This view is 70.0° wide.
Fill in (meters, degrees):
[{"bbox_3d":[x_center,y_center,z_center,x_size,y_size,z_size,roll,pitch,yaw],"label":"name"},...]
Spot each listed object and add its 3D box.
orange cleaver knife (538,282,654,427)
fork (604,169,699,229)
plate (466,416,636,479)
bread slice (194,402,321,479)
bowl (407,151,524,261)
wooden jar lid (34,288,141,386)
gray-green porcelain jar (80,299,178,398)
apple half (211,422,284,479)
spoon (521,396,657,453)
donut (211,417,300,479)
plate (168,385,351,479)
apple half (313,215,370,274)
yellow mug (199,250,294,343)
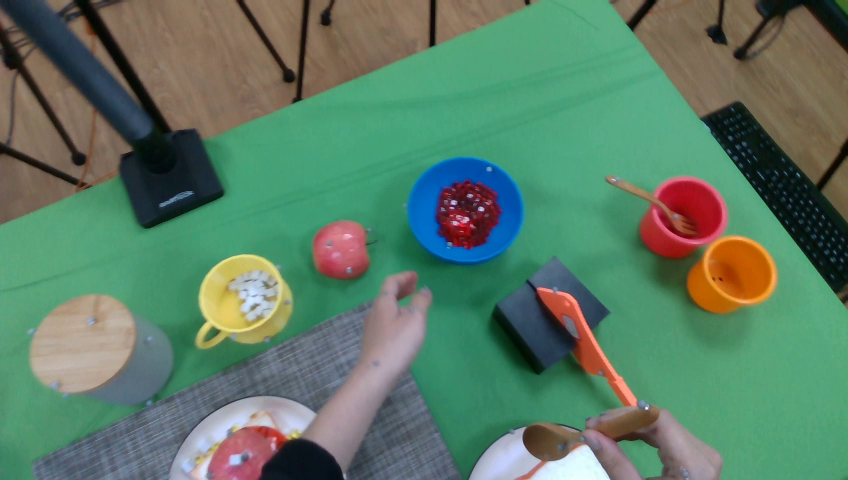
[{"bbox_3d":[0.208,0.138,0.743,0.012,0.077,0.211,-36,95,-21],"label":"orange cleaver knife"},{"bbox_3d":[0.298,-0.052,0.782,0.209,0.018,0.028,22,62,-37],"label":"fork"},{"bbox_3d":[0.146,0.311,0.700,0.209,0.038,0.207,0,69,0],"label":"plate"},{"bbox_3d":[-0.183,0.272,0.706,0.107,0.018,0.133,-43,75,-13],"label":"bread slice"},{"bbox_3d":[0.053,-0.034,0.809,0.151,0.077,0.150,0,70,-1],"label":"bowl"},{"bbox_3d":[-0.360,0.105,0.655,0.108,0.021,0.107,1,66,-1],"label":"wooden jar lid"},{"bbox_3d":[-0.359,0.128,0.715,0.106,0.127,0.105,0,68,0],"label":"gray-green porcelain jar"},{"bbox_3d":[-0.192,0.237,0.650,0.081,0.033,0.081,-2,70,6],"label":"apple half"},{"bbox_3d":[0.126,0.148,0.481,0.041,0.194,0.021,45,65,6],"label":"spoon"},{"bbox_3d":[-0.189,0.250,0.684,0.099,0.048,0.098,0,70,0],"label":"donut"},{"bbox_3d":[-0.187,0.276,0.704,0.208,0.039,0.206,0,69,-1],"label":"plate"},{"bbox_3d":[-0.111,0.002,0.807,0.075,0.054,0.080,-5,69,0],"label":"apple half"},{"bbox_3d":[-0.232,0.080,0.768,0.099,0.064,0.130,39,74,13],"label":"yellow mug"}]
